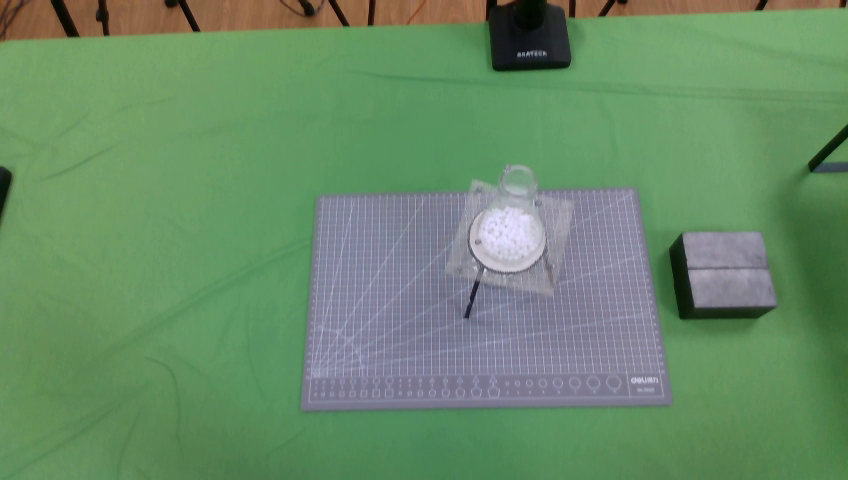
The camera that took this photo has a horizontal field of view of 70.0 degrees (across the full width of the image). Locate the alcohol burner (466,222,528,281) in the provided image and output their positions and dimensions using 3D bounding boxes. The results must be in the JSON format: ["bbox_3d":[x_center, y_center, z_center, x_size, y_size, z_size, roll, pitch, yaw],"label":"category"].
[{"bbox_3d":[0.092,0.007,0.752,0.078,0.120,0.077,-1,68,3],"label":"alcohol burner"}]

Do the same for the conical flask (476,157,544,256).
[{"bbox_3d":[0.092,-0.038,0.624,0.075,0.123,0.075,-1,66,2],"label":"conical flask"}]

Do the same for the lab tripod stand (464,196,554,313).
[{"bbox_3d":[0.093,0.012,0.739,0.148,0.132,0.147,-1,67,3],"label":"lab tripod stand"}]

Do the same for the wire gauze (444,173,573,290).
[{"bbox_3d":[0.096,-0.012,0.677,0.121,0.011,0.124,15,66,7],"label":"wire gauze"}]
